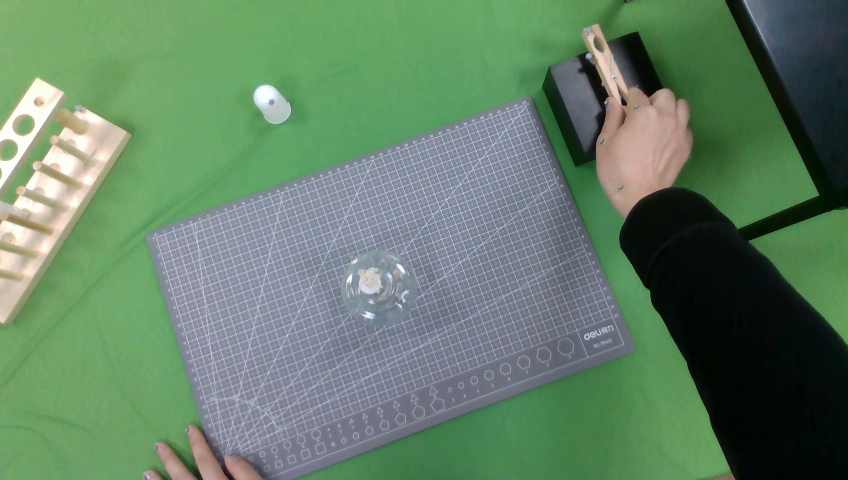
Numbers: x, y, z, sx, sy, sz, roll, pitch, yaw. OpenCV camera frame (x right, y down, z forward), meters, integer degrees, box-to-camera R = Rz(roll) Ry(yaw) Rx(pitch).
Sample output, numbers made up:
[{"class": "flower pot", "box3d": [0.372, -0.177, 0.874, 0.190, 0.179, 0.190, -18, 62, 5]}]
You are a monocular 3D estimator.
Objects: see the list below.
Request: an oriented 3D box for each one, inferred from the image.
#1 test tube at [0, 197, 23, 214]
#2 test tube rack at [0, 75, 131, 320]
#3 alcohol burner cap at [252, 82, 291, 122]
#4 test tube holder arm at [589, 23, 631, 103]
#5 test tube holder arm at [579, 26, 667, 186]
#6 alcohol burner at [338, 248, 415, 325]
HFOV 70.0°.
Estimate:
[{"class": "test tube", "box3d": [-0.438, -0.047, 0.581, 0.017, 0.151, 0.017, 0, 77, 1]}, {"class": "test tube rack", "box3d": [-0.418, -0.040, 0.629, 0.066, 0.085, 0.242, 29, 83, 6]}, {"class": "alcohol burner cap", "box3d": [-0.168, -0.154, 0.661, 0.034, 0.048, 0.033, -1, 78, 6]}, {"class": "test tube holder arm", "box3d": [0.187, -0.178, 0.613, 0.010, 0.015, 0.087, -20, 82, 0]}, {"class": "test tube holder arm", "box3d": [0.199, -0.135, 0.607, 0.013, 0.015, 0.177, -22, 82, 0]}, {"class": "alcohol burner", "box3d": [-0.048, 0.043, 0.592, 0.078, 0.119, 0.077, -1, 80, 4]}]
